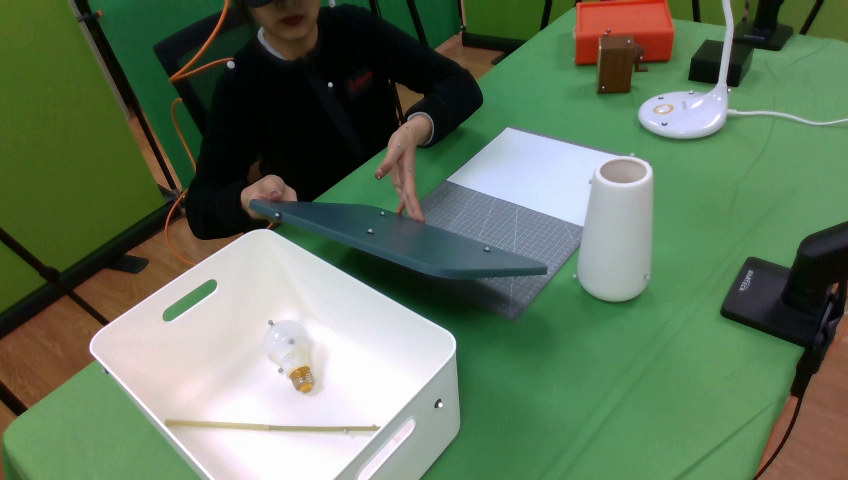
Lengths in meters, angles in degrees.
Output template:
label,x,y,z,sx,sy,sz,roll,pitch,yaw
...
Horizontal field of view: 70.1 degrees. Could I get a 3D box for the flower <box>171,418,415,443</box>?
label,x,y,z,sx,sy,sz,roll,pitch,yaw
flower,-0.154,0.228,0.742,0.360,0.038,0.044,-2,47,15

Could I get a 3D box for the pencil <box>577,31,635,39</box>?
label,x,y,z,sx,sy,sz,roll,pitch,yaw
pencil,0.431,-0.489,1.443,0.012,0.012,0.192,-25,30,-18

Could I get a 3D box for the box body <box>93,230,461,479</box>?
label,x,y,z,sx,sy,sz,roll,pitch,yaw
box body,-0.162,0.170,0.708,0.361,0.161,0.255,25,50,34

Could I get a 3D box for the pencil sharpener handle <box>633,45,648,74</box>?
label,x,y,z,sx,sy,sz,roll,pitch,yaw
pencil sharpener handle,0.454,-0.378,1.262,0.030,0.068,0.036,1,47,13

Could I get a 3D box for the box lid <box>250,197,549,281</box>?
label,x,y,z,sx,sy,sz,roll,pitch,yaw
box lid,-0.038,-0.007,0.840,0.368,0.015,0.265,19,11,37

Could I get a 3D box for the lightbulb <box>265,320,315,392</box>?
label,x,y,z,sx,sy,sz,roll,pitch,yaw
lightbulb,-0.174,0.155,0.806,0.060,0.060,0.107,-23,57,-16

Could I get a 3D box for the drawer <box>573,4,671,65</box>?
label,x,y,z,sx,sy,sz,roll,pitch,yaw
drawer,0.461,-0.490,1.435,0.211,0.073,0.194,2,40,12

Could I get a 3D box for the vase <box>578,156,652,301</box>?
label,x,y,z,sx,sy,sz,roll,pitch,yaw
vase,0.261,-0.011,0.812,0.098,0.201,0.097,-4,40,4

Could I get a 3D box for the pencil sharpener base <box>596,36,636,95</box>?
label,x,y,z,sx,sy,sz,roll,pitch,yaw
pencil sharpener base,0.406,-0.369,1.280,0.076,0.107,0.061,1,41,13

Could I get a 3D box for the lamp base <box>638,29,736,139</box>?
label,x,y,z,sx,sy,sz,roll,pitch,yaw
lamp base,0.501,-0.302,1.125,0.179,0.181,0.160,-4,40,3

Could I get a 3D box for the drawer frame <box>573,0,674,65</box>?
label,x,y,z,sx,sy,sz,roll,pitch,yaw
drawer frame,0.464,-0.492,1.434,0.213,0.083,0.201,1,40,12
